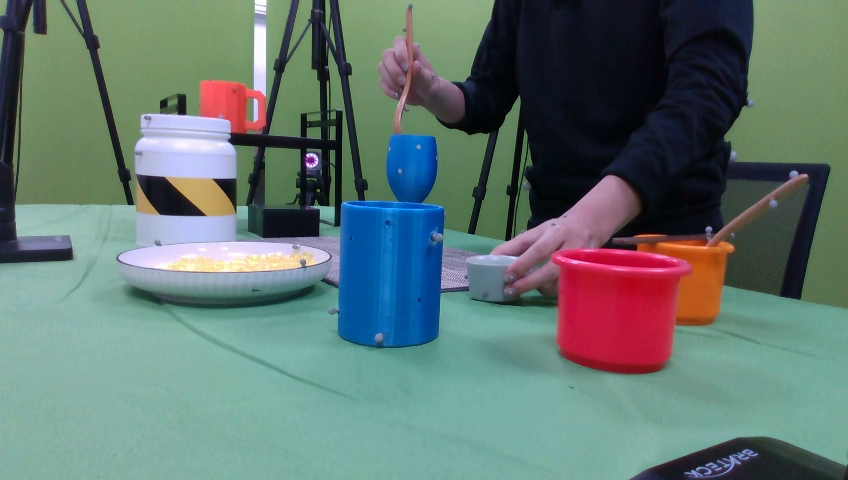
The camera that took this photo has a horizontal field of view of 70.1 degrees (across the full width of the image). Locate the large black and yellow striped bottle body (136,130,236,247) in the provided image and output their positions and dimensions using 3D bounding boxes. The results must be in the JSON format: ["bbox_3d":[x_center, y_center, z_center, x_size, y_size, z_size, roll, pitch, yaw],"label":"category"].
[{"bbox_3d":[-0.332,-0.076,0.851,0.131,0.184,0.130,3,8,0],"label":"large black and yellow striped bottle body"}]

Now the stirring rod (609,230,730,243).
[{"bbox_3d":[0.241,-0.004,0.582,0.177,0.006,0.014,-3,9,-33],"label":"stirring rod"}]

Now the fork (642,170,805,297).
[{"bbox_3d":[0.261,0.004,0.545,0.028,0.018,0.207,6,-38,-15],"label":"fork"}]

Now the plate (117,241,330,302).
[{"bbox_3d":[-0.203,0.031,0.630,0.209,0.038,0.209,3,7,0],"label":"plate"}]

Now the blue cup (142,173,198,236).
[{"bbox_3d":[-0.425,-0.060,1.014,0.093,0.100,0.092,4,9,0],"label":"blue cup"}]

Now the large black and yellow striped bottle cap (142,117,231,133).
[{"bbox_3d":[-0.328,-0.159,0.839,0.115,0.019,0.115,1,9,0],"label":"large black and yellow striped bottle cap"}]

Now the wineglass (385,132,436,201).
[{"bbox_3d":[-0.020,-0.061,0.838,0.074,0.172,0.073,2,7,0],"label":"wineglass"}]

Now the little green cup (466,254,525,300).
[{"bbox_3d":[0.072,0.038,0.624,0.061,0.038,0.061,3,8,0],"label":"little green cup"}]

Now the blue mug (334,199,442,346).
[{"bbox_3d":[-0.034,0.020,0.498,0.083,0.106,0.116,0,7,-20],"label":"blue mug"}]

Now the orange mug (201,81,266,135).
[{"bbox_3d":[-0.376,-0.260,1.198,0.126,0.101,0.083,-3,8,-6],"label":"orange mug"}]

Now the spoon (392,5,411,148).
[{"bbox_3d":[-0.027,-0.224,0.828,0.021,0.193,0.041,7,1,1],"label":"spoon"}]
